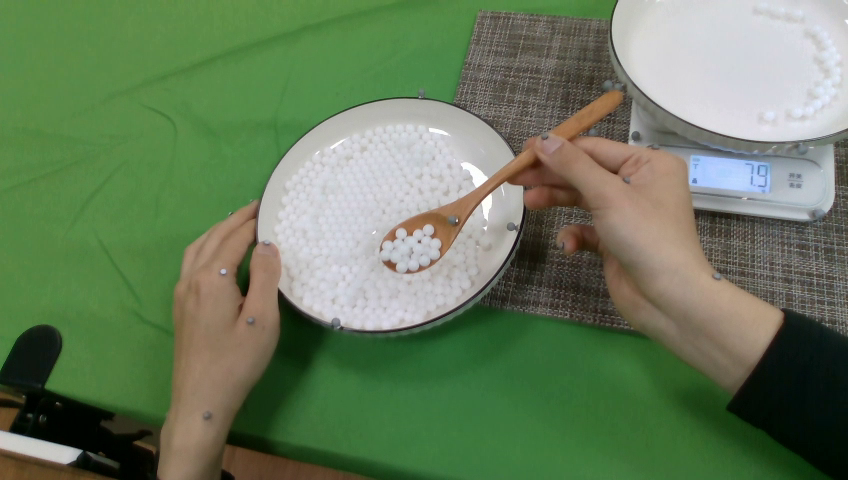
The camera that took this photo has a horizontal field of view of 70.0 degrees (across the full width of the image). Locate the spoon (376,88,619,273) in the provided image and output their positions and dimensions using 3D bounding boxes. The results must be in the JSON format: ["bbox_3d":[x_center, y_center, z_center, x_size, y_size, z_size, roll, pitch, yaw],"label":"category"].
[{"bbox_3d":[0.049,-0.040,0.406,0.194,0.022,0.041,-37,65,9],"label":"spoon"}]

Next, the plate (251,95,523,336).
[{"bbox_3d":[-0.028,-0.021,0.469,0.209,0.038,0.207,-3,62,7],"label":"plate"}]

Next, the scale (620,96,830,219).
[{"bbox_3d":[0.241,-0.114,0.487,0.148,0.032,0.199,8,64,11],"label":"scale"}]

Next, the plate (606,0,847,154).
[{"bbox_3d":[0.245,-0.147,0.467,0.207,0.039,0.206,-3,62,5],"label":"plate"}]
